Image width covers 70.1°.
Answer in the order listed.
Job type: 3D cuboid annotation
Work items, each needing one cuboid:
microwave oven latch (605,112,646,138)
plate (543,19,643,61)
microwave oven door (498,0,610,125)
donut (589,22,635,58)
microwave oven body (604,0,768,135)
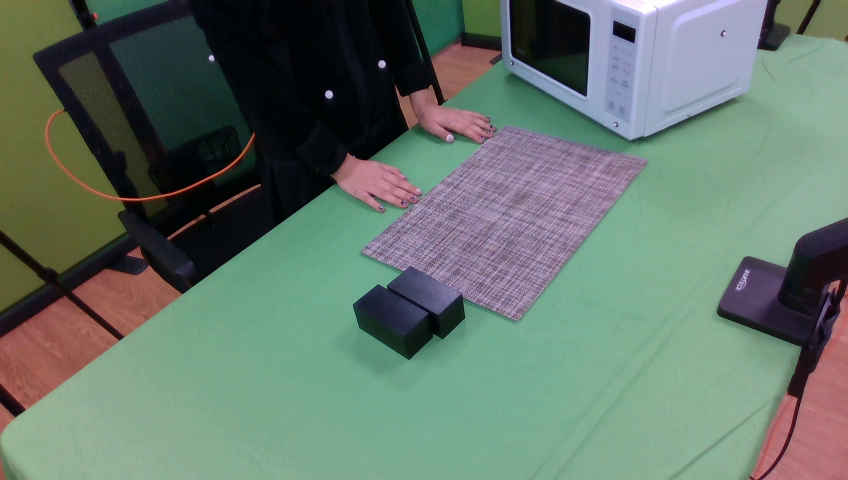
[{"bbox_3d":[0.375,-0.217,1.130,0.030,0.029,0.078,-25,42,-16],"label":"microwave oven latch"},{"bbox_3d":[0.359,-0.426,1.293,0.209,0.038,0.208,0,36,1],"label":"plate"},{"bbox_3d":[0.261,-0.410,1.219,0.039,0.245,0.352,-24,42,-17],"label":"microwave oven door"},{"bbox_3d":[0.402,-0.429,1.294,0.099,0.048,0.098,3,51,-3],"label":"donut"},{"bbox_3d":[0.411,-0.441,1.235,0.327,0.261,0.437,-25,42,-16],"label":"microwave oven body"}]
